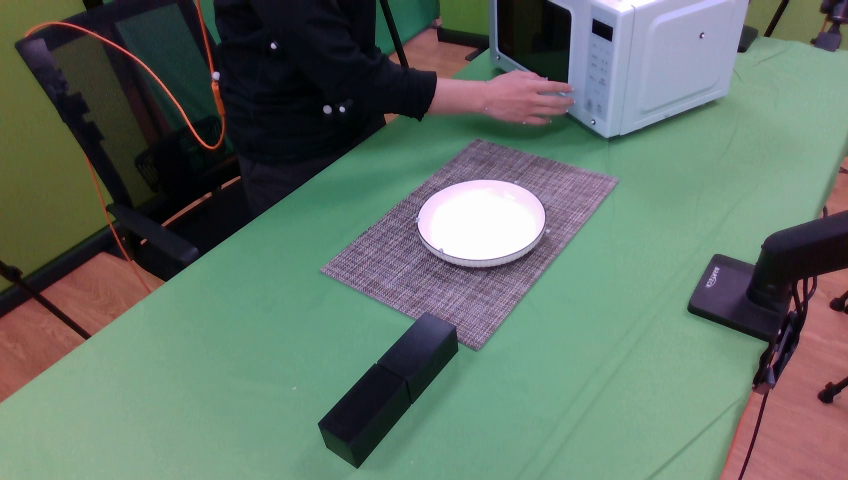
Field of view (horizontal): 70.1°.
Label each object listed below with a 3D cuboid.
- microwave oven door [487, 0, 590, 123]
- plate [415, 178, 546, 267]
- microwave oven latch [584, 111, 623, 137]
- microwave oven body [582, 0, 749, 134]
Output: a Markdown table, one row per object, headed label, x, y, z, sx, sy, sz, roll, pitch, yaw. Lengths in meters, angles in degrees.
| label | x | y | z | sx | sy | sz | roll | pitch | yaw |
| --- | --- | --- | --- | --- | --- | --- | --- | --- | --- |
| microwave oven door | 0.232 | -0.419 | 1.231 | 0.039 | 0.245 | 0.352 | -22 | 43 | -16 |
| plate | 0.091 | -0.026 | 0.970 | 0.207 | 0.039 | 0.206 | -4 | 41 | 4 |
| microwave oven latch | 0.337 | -0.222 | 1.142 | 0.030 | 0.029 | 0.078 | -21 | 42 | -14 |
| microwave oven body | 0.382 | -0.444 | 1.246 | 0.327 | 0.261 | 0.437 | -22 | 42 | -16 |
